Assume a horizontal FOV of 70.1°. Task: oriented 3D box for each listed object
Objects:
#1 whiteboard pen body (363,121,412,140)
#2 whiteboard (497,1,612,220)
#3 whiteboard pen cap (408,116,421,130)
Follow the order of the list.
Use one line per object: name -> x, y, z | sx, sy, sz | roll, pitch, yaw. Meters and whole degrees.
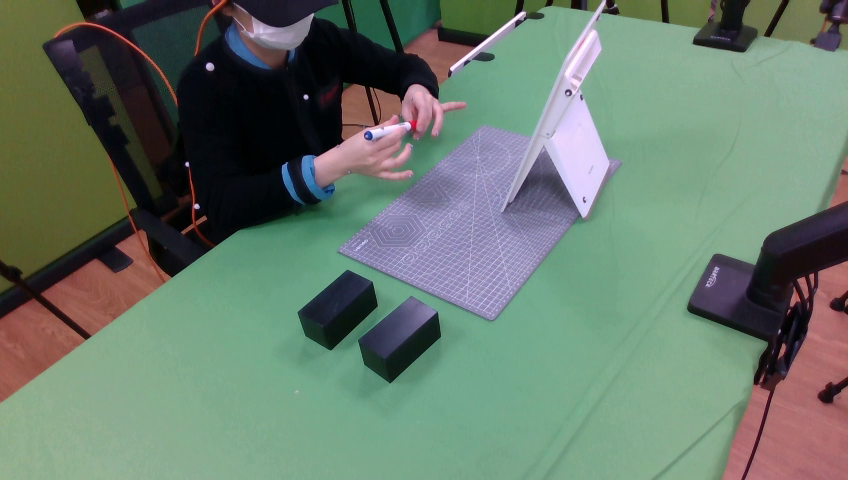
whiteboard pen body -> -0.054, -0.182, 0.993 | 0.016, 0.017, 0.141 | 18, 27, 27
whiteboard -> 0.260, -0.178, 0.963 | 0.143, 0.306, 0.217 | 28, 49, 9
whiteboard pen cap -> -0.019, -0.202, 1.042 | 0.017, 0.017, 0.032 | 15, 35, 25
